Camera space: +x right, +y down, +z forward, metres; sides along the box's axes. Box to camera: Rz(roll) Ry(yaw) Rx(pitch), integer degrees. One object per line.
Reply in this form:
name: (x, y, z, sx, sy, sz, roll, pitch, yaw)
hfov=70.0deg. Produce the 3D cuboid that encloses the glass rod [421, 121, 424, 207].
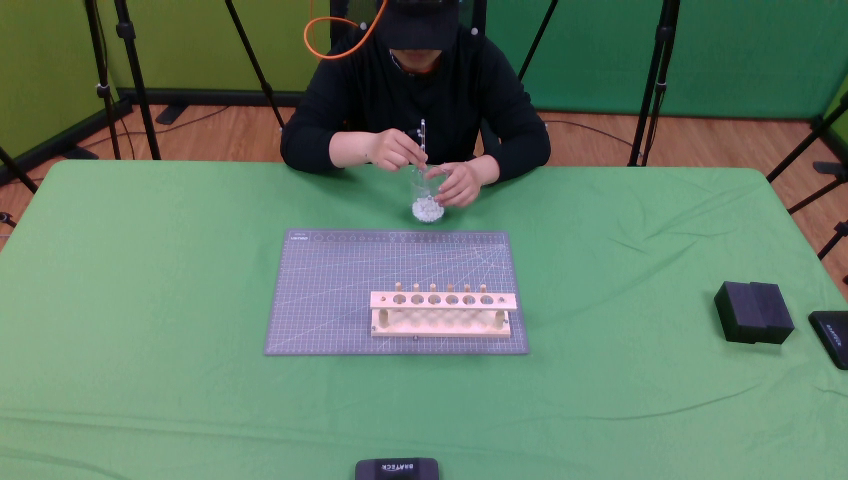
glass rod: (-0.004, -0.141, 1.166, 0.008, 0.201, 0.008, 0, 42, 0)

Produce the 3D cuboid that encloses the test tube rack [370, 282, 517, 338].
test tube rack: (0.030, 0.116, 1.041, 0.242, 0.085, 0.066, 1, 46, -3)

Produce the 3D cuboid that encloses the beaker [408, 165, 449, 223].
beaker: (0.010, -0.091, 1.217, 0.084, 0.101, 0.073, -16, 49, -15)
